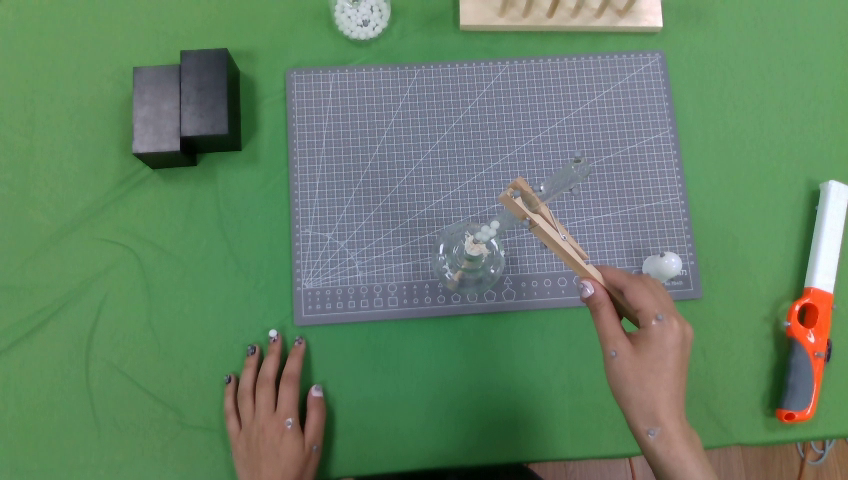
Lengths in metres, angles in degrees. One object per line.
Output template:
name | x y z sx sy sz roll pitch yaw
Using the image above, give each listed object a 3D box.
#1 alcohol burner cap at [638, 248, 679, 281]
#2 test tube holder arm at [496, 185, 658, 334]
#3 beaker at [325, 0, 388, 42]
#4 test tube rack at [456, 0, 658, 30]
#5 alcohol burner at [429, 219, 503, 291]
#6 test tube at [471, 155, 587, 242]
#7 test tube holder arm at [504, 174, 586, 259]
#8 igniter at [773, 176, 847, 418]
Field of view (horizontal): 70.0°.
alcohol burner cap | 0.257 0.026 0.659 0.034 0.048 0.033 0 78 -2
test tube holder arm | 0.126 0.019 0.488 0.179 0.015 0.013 42 58 -12
beaker | -0.077 -0.275 0.679 0.074 0.100 0.083 -1 79 -2
test tube rack | 0.161 -0.295 0.698 0.242 0.085 0.066 0 79 -2
alcohol burner | 0.045 0.012 0.618 0.078 0.119 0.077 1 78 -3
test tube | 0.077 -0.028 0.479 0.017 0.150 0.017 9 67 -22
test tube holder arm | 0.097 -0.016 0.482 0.088 0.015 0.010 49 56 -8
igniter | 0.428 0.062 0.667 0.057 0.025 0.275 18 79 -8
